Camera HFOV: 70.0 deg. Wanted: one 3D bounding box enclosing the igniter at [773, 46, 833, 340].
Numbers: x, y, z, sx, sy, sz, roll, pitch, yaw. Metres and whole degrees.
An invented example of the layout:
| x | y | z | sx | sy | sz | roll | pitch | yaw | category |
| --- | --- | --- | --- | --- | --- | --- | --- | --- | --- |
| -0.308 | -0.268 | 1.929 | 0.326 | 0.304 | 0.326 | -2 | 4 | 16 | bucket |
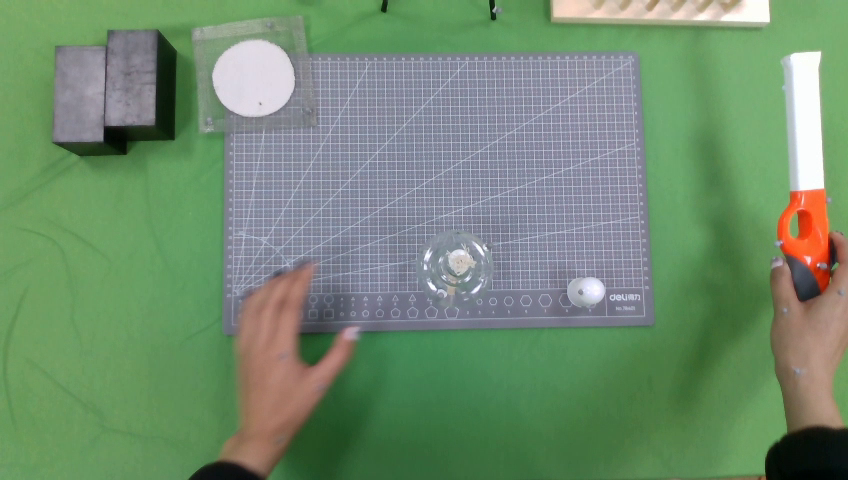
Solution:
| x | y | z | sx | sy | sz | roll | pitch | yaw | category |
| --- | --- | --- | --- | --- | --- | --- | --- | --- | --- |
| 0.360 | -0.041 | 0.577 | 0.057 | 0.025 | 0.277 | -6 | 96 | -7 | igniter |

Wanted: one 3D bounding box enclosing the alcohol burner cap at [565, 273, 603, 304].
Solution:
| x | y | z | sx | sy | sz | roll | pitch | yaw | category |
| --- | --- | --- | --- | --- | --- | --- | --- | --- | --- |
| 0.166 | 0.049 | 0.622 | 0.034 | 0.048 | 0.034 | 0 | 82 | -1 | alcohol burner cap |

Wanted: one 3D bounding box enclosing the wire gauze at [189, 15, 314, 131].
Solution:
| x | y | z | sx | sy | sz | roll | pitch | yaw | category |
| --- | --- | --- | --- | --- | --- | --- | --- | --- | --- |
| -0.186 | -0.179 | 0.649 | 0.125 | 0.011 | 0.121 | -6 | 83 | -2 | wire gauze |

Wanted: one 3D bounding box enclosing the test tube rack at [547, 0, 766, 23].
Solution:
| x | y | z | sx | sy | sz | roll | pitch | yaw | category |
| --- | --- | --- | --- | --- | --- | --- | --- | --- | --- |
| 0.259 | -0.282 | 0.641 | 0.242 | 0.085 | 0.066 | 0 | 84 | -2 | test tube rack |

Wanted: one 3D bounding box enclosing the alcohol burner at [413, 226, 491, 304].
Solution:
| x | y | z | sx | sy | sz | roll | pitch | yaw | category |
| --- | --- | --- | --- | --- | --- | --- | --- | --- | --- |
| 0.029 | 0.022 | 0.584 | 0.078 | 0.119 | 0.077 | 0 | 82 | -3 | alcohol burner |

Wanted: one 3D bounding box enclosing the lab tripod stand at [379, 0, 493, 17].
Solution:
| x | y | z | sx | sy | sz | roll | pitch | yaw | category |
| --- | --- | --- | --- | --- | --- | --- | --- | --- | --- |
| 0.015 | -0.299 | 0.610 | 0.148 | 0.132 | 0.148 | 0 | 83 | 0 | lab tripod stand |
